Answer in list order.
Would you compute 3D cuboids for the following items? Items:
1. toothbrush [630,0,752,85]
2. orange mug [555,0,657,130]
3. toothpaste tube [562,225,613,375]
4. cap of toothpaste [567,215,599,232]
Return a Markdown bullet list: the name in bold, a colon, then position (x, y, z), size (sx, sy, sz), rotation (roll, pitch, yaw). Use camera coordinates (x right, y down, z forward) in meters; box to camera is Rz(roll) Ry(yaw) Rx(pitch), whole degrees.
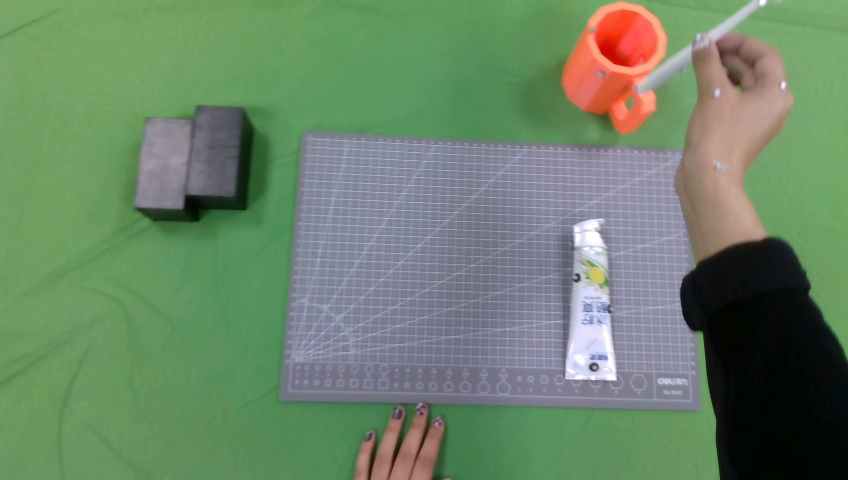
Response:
- **toothbrush**: position (0.221, -0.164, 0.480), size (0.014, 0.182, 0.016), rotation (17, 75, -13)
- **orange mug**: position (0.209, -0.192, 0.683), size (0.083, 0.101, 0.125), rotation (-19, 75, -7)
- **toothpaste tube**: position (0.176, 0.063, 0.661), size (0.055, 0.034, 0.164), rotation (-1, 82, 4)
- **cap of toothpaste**: position (0.177, -0.018, 0.672), size (0.037, 0.037, 0.011), rotation (-11, 75, -6)
